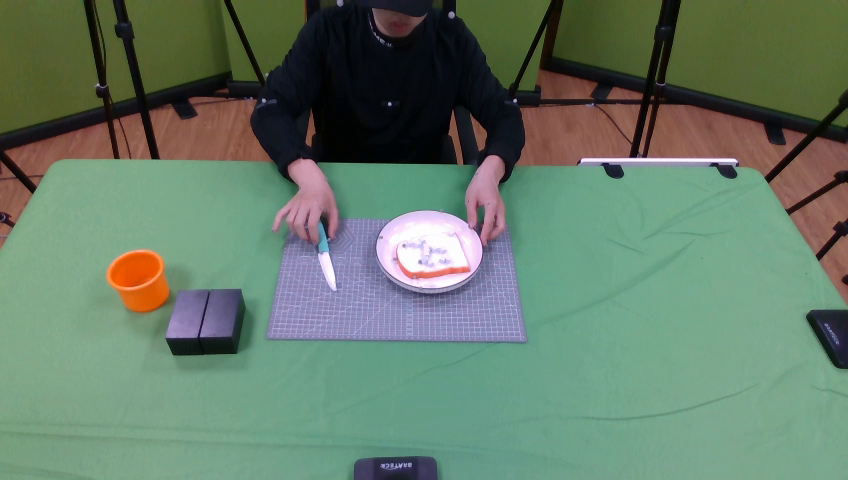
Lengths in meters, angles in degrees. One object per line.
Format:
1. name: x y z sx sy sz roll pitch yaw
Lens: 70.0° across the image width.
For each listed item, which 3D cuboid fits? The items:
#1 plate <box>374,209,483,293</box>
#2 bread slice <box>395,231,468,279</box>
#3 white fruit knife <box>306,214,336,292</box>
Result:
1. plate: 0.009 0.024 1.160 0.209 0.038 0.208 2 46 -2
2. bread slice: 0.011 0.029 1.158 0.132 0.019 0.104 -9 48 -14
3. white fruit knife: -0.195 0.022 1.164 0.027 0.016 0.206 -31 51 9
